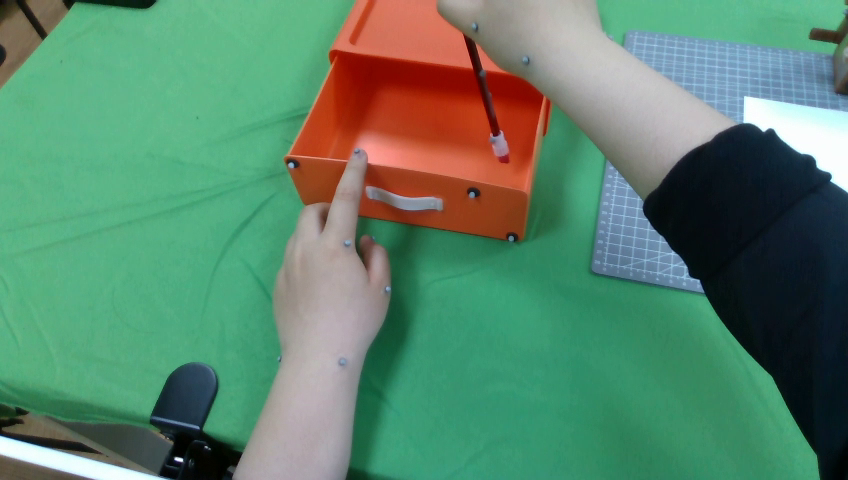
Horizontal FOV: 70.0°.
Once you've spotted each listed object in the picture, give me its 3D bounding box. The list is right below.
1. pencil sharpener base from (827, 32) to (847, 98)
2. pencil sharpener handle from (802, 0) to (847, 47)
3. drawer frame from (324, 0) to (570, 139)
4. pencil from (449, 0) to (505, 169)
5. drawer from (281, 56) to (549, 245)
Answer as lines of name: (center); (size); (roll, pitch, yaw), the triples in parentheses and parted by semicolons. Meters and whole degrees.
pencil sharpener base: (0.413, -0.180, 0.533); (0.076, 0.108, 0.061); (12, 59, 13)
pencil sharpener handle: (0.364, -0.198, 0.534); (0.030, 0.068, 0.036); (12, 64, 13)
drawer frame: (0.035, -0.207, 0.595); (0.201, 0.083, 0.212); (10, 57, 11)
pencil: (0.035, -0.131, 0.449); (0.012, 0.196, 0.012); (-13, 41, 12)
drawer: (0.007, -0.109, 0.536); (0.194, 0.074, 0.210); (9, 58, 11)
